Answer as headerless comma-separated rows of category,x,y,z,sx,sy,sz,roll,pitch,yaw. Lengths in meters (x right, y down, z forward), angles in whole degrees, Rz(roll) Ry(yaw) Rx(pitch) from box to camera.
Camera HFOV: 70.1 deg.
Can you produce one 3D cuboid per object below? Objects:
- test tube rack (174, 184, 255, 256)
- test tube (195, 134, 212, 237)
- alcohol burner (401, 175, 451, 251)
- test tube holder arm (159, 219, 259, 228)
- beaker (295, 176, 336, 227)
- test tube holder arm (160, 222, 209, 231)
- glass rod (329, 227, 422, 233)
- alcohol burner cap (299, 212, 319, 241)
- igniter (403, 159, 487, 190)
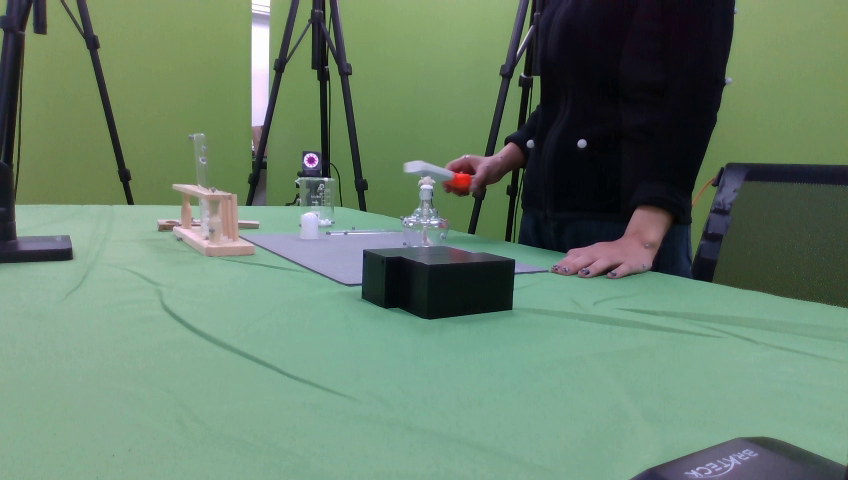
test tube rack,-0.327,-0.036,0.928,0.067,0.085,0.241,-2,9,-32
test tube,-0.320,-0.079,0.880,0.017,0.150,0.017,-3,3,1
alcohol burner,0.003,-0.042,0.947,0.078,0.119,0.078,1,9,0
test tube holder arm,-0.390,-0.030,1.107,0.179,0.015,0.013,-4,45,-39
beaker,-0.224,-0.080,1.247,0.084,0.100,0.073,-1,8,-18
test tube holder arm,-0.423,-0.024,1.076,0.088,0.015,0.010,-3,45,-38
glass rod,-0.087,-0.020,1.148,0.201,0.008,0.008,-3,8,-33
alcohol burner cap,-0.195,-0.024,1.025,0.034,0.048,0.034,3,7,0
igniter,0.045,-0.118,1.116,0.057,0.025,0.278,-5,-5,29
